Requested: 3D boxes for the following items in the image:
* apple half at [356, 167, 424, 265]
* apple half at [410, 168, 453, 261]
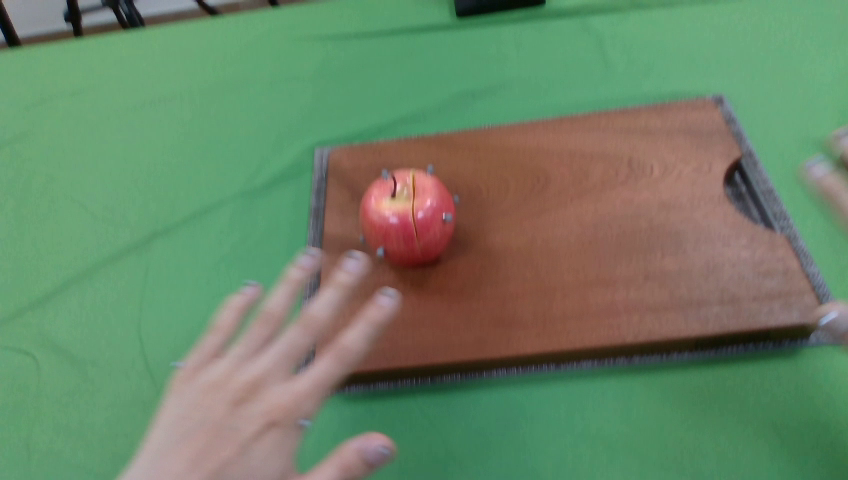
[{"bbox_3d":[-0.030,-0.017,0.521,0.053,0.075,0.080,-9,56,8],"label":"apple half"},{"bbox_3d":[0.010,-0.022,0.517,0.033,0.082,0.080,-7,53,7],"label":"apple half"}]
